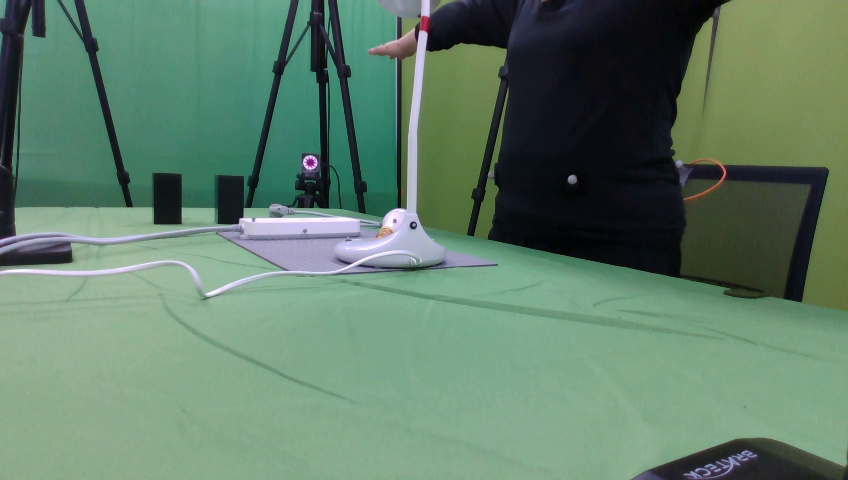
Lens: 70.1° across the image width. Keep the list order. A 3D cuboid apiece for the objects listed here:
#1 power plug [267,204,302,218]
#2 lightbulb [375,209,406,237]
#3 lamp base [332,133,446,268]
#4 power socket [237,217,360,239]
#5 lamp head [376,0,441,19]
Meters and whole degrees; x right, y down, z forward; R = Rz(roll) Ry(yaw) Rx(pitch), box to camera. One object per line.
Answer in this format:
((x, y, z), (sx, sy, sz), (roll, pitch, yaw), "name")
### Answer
((-0.327, -0.059, 1.403), (0.073, 0.035, 0.052), (23, -16, -25), "power plug")
((-0.052, -0.016, 1.023), (0.059, 0.059, 0.108), (6, 23, 22), "lightbulb")
((-0.038, -0.058, 0.833), (0.161, 0.180, 0.178), (-2, 11, -32), "lamp base")
((-0.220, -0.023, 1.080), (0.228, 0.032, 0.072), (-2, 8, -32), "power socket")
((-0.012, -0.373, 0.822), (0.113, 0.112, 0.122), (1, 0, -14), "lamp head")
